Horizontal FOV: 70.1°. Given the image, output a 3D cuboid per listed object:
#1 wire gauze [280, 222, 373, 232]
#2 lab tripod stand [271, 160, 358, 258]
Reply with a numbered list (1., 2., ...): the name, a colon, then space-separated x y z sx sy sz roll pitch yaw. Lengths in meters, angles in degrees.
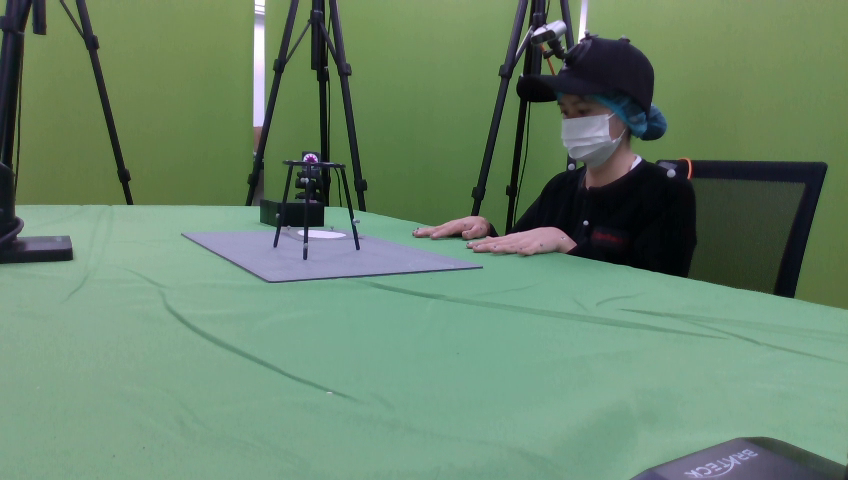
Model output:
1. wire gauze: -0.173 -0.025 1.072 0.121 0.011 0.126 6 2 38
2. lab tripod stand: -0.159 -0.048 0.876 0.148 0.131 0.148 3 5 0
